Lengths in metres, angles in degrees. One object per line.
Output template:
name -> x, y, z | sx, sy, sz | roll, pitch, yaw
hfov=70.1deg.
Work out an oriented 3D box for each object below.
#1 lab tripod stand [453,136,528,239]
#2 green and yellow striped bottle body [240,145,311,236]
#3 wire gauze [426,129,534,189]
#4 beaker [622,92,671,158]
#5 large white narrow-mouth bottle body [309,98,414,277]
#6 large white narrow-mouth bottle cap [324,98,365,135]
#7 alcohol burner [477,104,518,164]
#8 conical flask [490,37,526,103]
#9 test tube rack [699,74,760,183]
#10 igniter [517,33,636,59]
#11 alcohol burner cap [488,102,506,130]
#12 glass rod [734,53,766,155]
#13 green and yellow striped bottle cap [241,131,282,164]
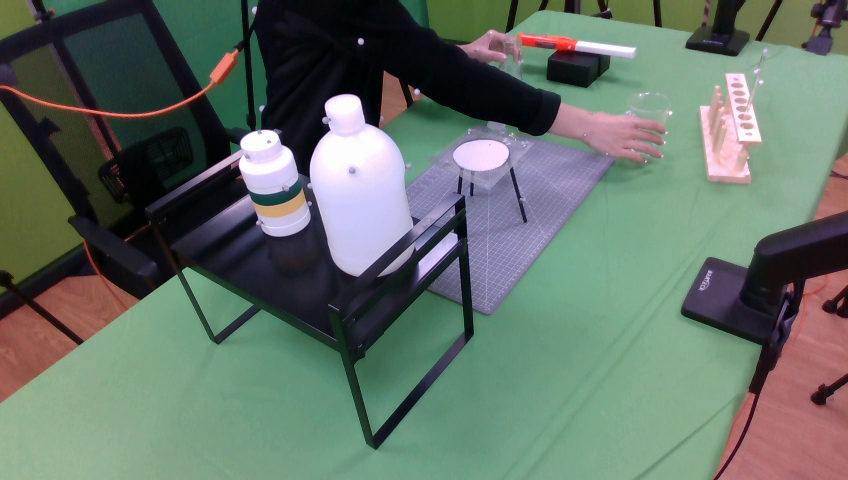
lab tripod stand -> 0.094, -0.086, 0.974 | 0.148, 0.132, 0.147 | -4, 43, 4
green and yellow striped bottle body -> -0.181, -0.069, 0.729 | 0.063, 0.120, 0.063 | -4, 40, 4
wire gauze -> 0.086, -0.131, 0.924 | 0.124, 0.011, 0.122 | 26, 52, 33
beaker -> 0.402, -0.210, 1.106 | 0.074, 0.101, 0.083 | -8, 40, -1
large white narrow-mouth bottle body -> -0.068, -0.058, 0.645 | 0.102, 0.195, 0.101 | -4, 42, 4
large white narrow-mouth bottle cap -> -0.077, -0.120, 0.586 | 0.038, 0.024, 0.037 | -4, 42, 4
alcohol burner -> 0.135, -0.200, 1.117 | 0.078, 0.119, 0.077 | -4, 43, 4
conical flask -> 0.174, -0.345, 1.222 | 0.075, 0.122, 0.075 | 1, 38, 0
test tube rack -> 0.547, -0.208, 1.095 | 0.066, 0.085, 0.242 | 6, 42, 16
igniter -> 0.336, -0.441, 1.369 | 0.275, 0.025, 0.057 | 16, 41, 23
alcohol burner cap -> 0.133, -0.227, 1.092 | 0.034, 0.048, 0.033 | 0, 46, 1
glass rod -> 0.540, -0.219, 1.006 | 0.008, 0.201, 0.008 | -5, 45, 6
green and yellow striped bottle cap -> -0.187, -0.107, 0.695 | 0.045, 0.020, 0.045 | -3, 39, 3
